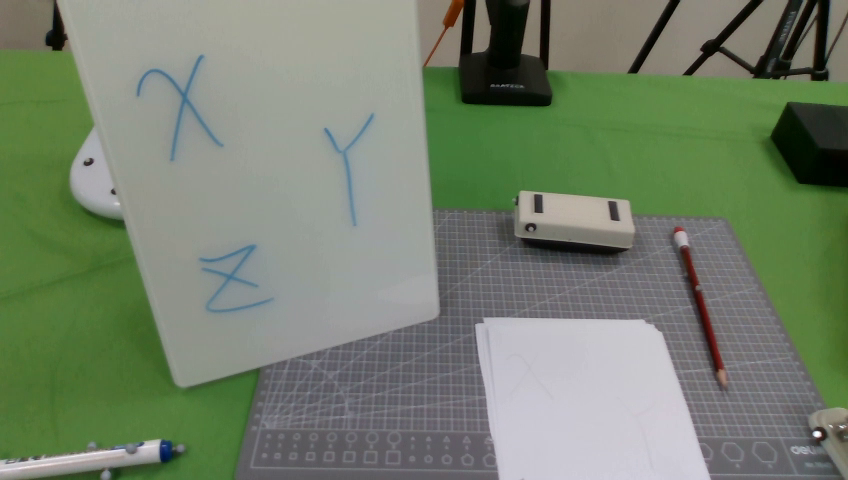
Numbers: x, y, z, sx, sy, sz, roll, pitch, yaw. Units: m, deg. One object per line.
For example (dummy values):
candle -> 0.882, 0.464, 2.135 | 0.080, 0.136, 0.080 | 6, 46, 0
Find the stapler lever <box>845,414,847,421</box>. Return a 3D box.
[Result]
stapler lever -> 0.330, 0.156, 0.405 | 0.027, 0.040, 0.116 | -6, 48, -9

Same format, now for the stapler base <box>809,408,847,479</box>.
stapler base -> 0.328, 0.173, 0.424 | 0.041, 0.024, 0.129 | -6, 47, -10

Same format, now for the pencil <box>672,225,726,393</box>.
pencil -> 0.250, 0.055, 0.553 | 0.012, 0.012, 0.192 | 6, 45, 2

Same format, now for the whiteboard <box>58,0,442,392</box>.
whiteboard -> -0.120, -0.070, 0.485 | 0.218, 0.307, 0.142 | -13, 26, -16

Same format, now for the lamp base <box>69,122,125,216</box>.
lamp base -> -0.293, -0.141, 0.596 | 0.177, 0.182, 0.160 | 31, 49, 29

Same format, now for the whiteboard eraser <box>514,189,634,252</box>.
whiteboard eraser -> 0.146, -0.018, 0.598 | 0.112, 0.042, 0.055 | 6, 44, 3

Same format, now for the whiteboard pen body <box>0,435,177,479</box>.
whiteboard pen body -> -0.243, 0.150, 0.412 | 0.141, 0.017, 0.017 | -5, 44, -9
